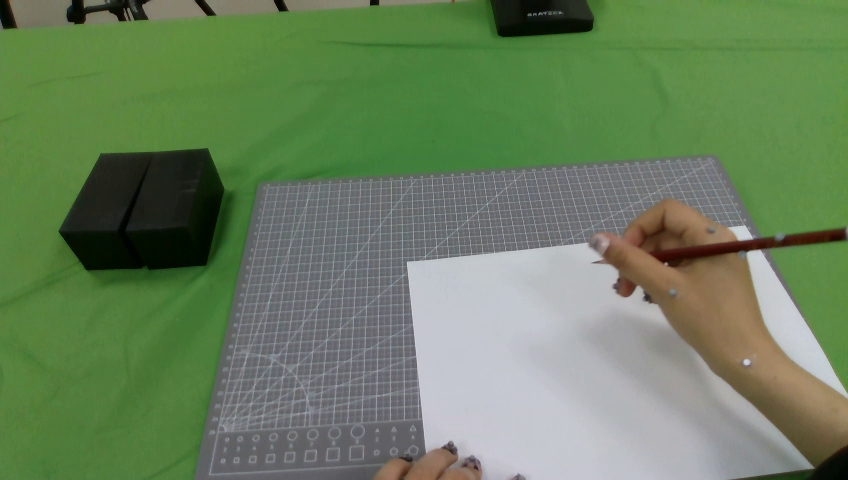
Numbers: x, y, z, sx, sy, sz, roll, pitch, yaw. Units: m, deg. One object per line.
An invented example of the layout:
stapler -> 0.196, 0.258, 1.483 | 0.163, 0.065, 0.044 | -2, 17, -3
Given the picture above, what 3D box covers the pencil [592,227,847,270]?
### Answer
pencil -> 0.183, 0.007, 0.372 | 0.193, 0.012, 0.012 | -13, 29, 51
